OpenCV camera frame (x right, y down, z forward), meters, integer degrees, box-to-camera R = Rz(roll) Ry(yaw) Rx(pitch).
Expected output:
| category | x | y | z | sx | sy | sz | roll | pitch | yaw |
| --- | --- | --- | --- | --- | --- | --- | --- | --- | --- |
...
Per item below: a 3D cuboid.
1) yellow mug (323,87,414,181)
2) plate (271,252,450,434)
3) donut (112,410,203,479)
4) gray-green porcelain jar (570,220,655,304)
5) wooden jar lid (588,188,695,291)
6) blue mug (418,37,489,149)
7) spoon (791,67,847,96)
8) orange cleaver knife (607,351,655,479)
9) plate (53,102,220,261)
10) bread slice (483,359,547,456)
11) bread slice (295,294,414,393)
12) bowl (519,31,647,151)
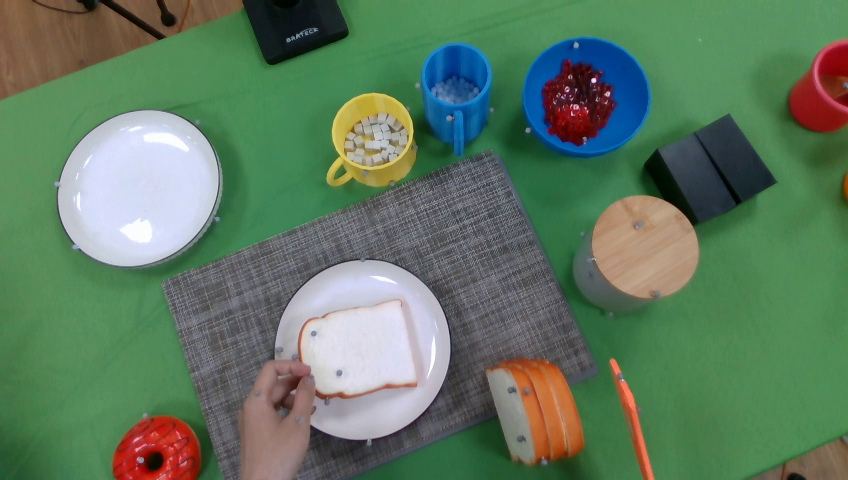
| category | x | y | z | sx | sy | sz | roll | pitch | yaw |
| --- | --- | --- | --- | --- | --- | --- | --- | --- | --- |
| yellow mug | -0.075 | -0.121 | 0.756 | 0.131 | 0.064 | 0.099 | -44 | 79 | -6 |
| plate | -0.073 | 0.119 | 0.713 | 0.209 | 0.038 | 0.208 | 0 | 77 | 2 |
| donut | -0.304 | 0.245 | 0.694 | 0.099 | 0.048 | 0.098 | 0 | 77 | -1 |
| gray-green porcelain jar | 0.225 | 0.015 | 0.685 | 0.106 | 0.127 | 0.105 | 0 | 77 | 2 |
| wooden jar lid | 0.222 | 0.000 | 0.624 | 0.108 | 0.021 | 0.108 | 0 | 78 | 0 |
| blue mug | 0.036 | -0.170 | 0.744 | 0.082 | 0.106 | 0.116 | -3 | 77 | 2 |
| spoon | 0.541 | -0.197 | 0.711 | 0.192 | 0.022 | 0.041 | 4 | 67 | 49 |
| orange cleaver knife | 0.213 | 0.212 | 0.591 | 0.012 | 0.077 | 0.212 | -17 | 97 | 7 |
| plate | -0.358 | -0.072 | 0.770 | 0.207 | 0.039 | 0.206 | 0 | 78 | 2 |
| bread slice | 0.097 | 0.175 | 0.650 | 0.018 | 0.135 | 0.106 | -15 | 75 | -10 |
| bread slice | -0.079 | 0.121 | 0.694 | 0.132 | 0.019 | 0.104 | -7 | 72 | -25 |
| bowl | 0.190 | -0.171 | 0.752 | 0.151 | 0.077 | 0.150 | 0 | 78 | 2 |
